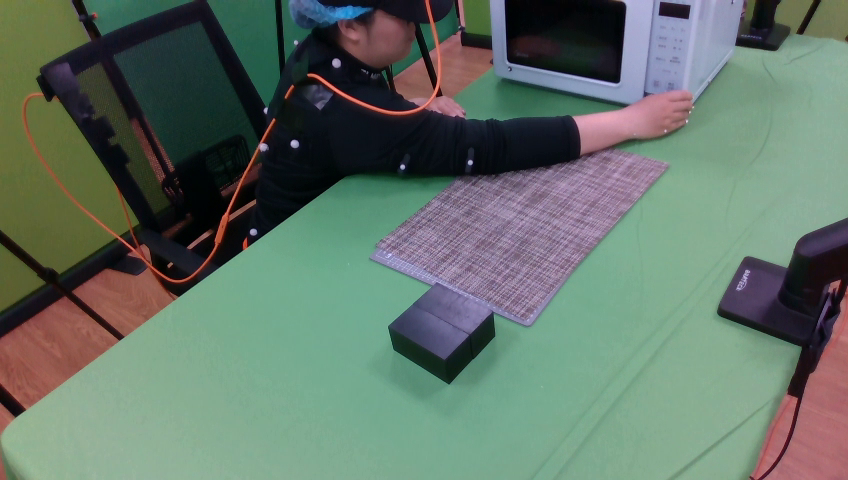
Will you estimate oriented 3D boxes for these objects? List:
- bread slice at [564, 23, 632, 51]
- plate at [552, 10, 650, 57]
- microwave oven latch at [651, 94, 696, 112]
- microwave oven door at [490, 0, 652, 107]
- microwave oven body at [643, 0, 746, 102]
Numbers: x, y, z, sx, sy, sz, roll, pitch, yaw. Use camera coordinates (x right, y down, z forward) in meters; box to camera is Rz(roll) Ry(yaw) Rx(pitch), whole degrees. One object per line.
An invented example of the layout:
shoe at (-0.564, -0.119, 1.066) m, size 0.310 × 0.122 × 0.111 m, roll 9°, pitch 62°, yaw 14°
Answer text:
bread slice at (0.394, -0.453, 1.344) m, size 0.105 × 0.019 × 0.130 m, roll -36°, pitch 42°, yaw -26°
plate at (0.390, -0.454, 1.339) m, size 0.209 × 0.038 × 0.208 m, roll -5°, pitch 39°, yaw 5°
microwave oven latch at (0.484, -0.276, 1.178) m, size 0.030 × 0.029 × 0.078 m, roll -32°, pitch 44°, yaw -22°
microwave oven door at (0.290, -0.418, 1.226) m, size 0.353 × 0.245 × 0.039 m, roll 23°, pitch 50°, yaw 33°
microwave oven body at (0.417, -0.486, 1.290) m, size 0.438 × 0.261 × 0.327 m, roll 21°, pitch 50°, yaw 33°
